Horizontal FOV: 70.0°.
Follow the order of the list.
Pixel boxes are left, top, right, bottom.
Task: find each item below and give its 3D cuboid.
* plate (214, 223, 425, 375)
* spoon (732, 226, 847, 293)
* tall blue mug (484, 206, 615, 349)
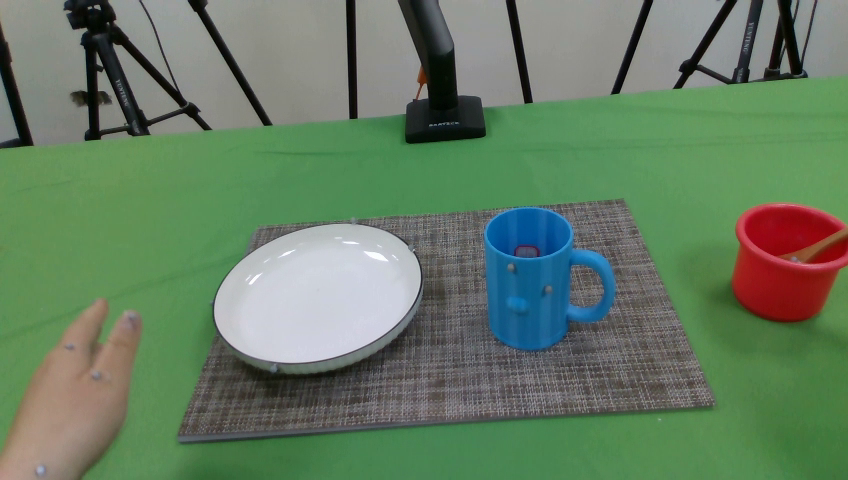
[{"bbox_3d":[-0.100,0.058,0.609,0.207,0.039,0.205,-4,38,4],"label":"plate"},{"bbox_3d":[0.367,-0.001,0.532,0.022,0.194,0.041,38,40,-18],"label":"spoon"},{"bbox_3d":[0.110,0.033,0.550,0.107,0.109,0.077,-8,37,-2],"label":"tall blue mug"}]
